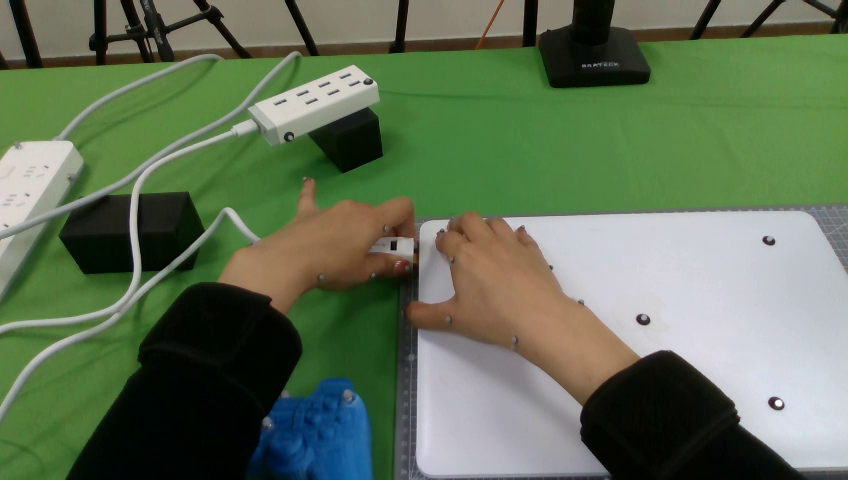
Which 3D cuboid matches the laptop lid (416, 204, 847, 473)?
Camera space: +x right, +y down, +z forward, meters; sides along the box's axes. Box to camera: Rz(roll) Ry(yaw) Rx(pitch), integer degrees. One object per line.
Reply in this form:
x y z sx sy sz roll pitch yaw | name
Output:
0.170 0.061 0.471 0.356 0.013 0.239 -1 49 3 | laptop lid

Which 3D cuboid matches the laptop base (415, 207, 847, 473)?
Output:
0.170 0.067 0.482 0.354 0.023 0.233 -2 50 1 | laptop base

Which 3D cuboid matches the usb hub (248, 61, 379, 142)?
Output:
-0.111 -0.142 0.617 0.125 0.025 0.049 -30 54 -21 | usb hub

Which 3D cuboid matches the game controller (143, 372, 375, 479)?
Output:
-0.110 0.136 0.412 0.155 0.052 0.096 -1 43 2 | game controller

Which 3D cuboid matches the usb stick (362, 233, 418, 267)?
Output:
-0.024 0.009 0.524 0.059 0.027 0.021 3 51 -7 | usb stick

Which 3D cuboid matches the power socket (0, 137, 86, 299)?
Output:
-0.403 -0.025 0.584 0.072 0.033 0.224 1 47 2 | power socket

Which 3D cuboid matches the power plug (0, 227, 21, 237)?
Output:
-0.376 0.012 0.516 0.072 0.053 0.035 9 47 8 | power plug
